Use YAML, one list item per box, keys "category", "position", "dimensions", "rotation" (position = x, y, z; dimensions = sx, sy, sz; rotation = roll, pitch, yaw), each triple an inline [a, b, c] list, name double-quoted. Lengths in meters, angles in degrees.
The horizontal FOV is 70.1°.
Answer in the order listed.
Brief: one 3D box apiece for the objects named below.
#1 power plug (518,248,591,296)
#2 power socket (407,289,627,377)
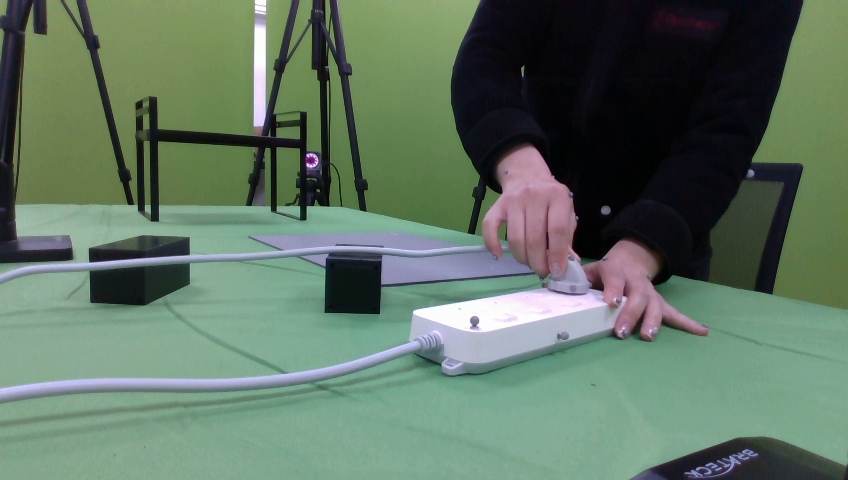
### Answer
- category: "power plug"
  position: [0.120, 0.036, 0.554]
  dimensions: [0.035, 0.052, 0.072]
  rotation: [-1, 10, -31]
- category: "power socket"
  position: [0.083, 0.066, 0.485]
  dimensions: [0.228, 0.032, 0.072]
  rotation: [-4, 9, -43]
